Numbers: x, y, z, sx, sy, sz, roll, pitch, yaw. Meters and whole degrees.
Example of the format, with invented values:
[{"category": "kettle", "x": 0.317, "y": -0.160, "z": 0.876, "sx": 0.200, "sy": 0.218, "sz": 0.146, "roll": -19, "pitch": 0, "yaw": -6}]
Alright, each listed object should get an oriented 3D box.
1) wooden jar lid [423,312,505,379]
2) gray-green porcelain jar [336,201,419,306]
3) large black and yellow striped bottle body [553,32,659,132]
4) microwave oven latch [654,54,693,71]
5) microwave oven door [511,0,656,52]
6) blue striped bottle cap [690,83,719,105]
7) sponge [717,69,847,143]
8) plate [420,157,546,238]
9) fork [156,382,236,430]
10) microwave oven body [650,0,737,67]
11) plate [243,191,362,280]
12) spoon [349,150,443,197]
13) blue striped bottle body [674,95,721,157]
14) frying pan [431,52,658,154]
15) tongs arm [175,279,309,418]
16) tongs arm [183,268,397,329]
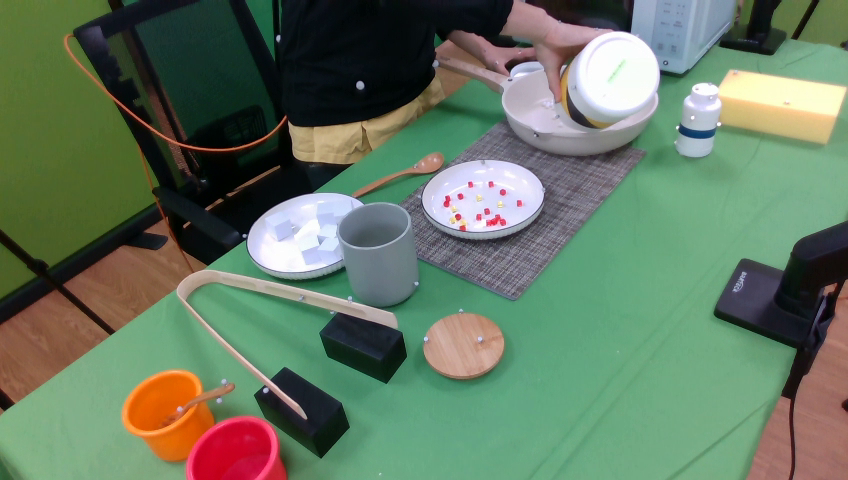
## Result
[{"category": "wooden jar lid", "x": 0.053, "y": 0.142, "z": 0.800, "sx": 0.108, "sy": 0.021, "sz": 0.108, "roll": -5, "pitch": 39, "yaw": 4}, {"category": "gray-green porcelain jar", "x": -0.064, "y": 0.024, "z": 0.872, "sx": 0.106, "sy": 0.127, "sz": 0.105, "roll": -4, "pitch": 41, "yaw": 4}, {"category": "large black and yellow striped bottle body", "x": 0.291, "y": -0.253, "z": 1.004, "sx": 0.131, "sy": 0.130, "sz": 0.184, "roll": -10, "pitch": 1, "yaw": -3}, {"category": "microwave oven latch", "x": 0.531, "y": -0.386, "z": 1.301, "sx": 0.078, "sy": 0.029, "sz": 0.030, "roll": 26, "pitch": 51, "yaw": 33}, {"category": "microwave oven door", "x": 0.350, "y": -0.539, "z": 1.349, "sx": 0.353, "sy": 0.245, "sz": 0.039, "roll": 24, "pitch": 50, "yaw": 31}, {"category": "blue striped bottle cap", "x": 0.481, "y": -0.251, "z": 1.038, "sx": 0.044, "sy": 0.021, "sz": 0.044, "roll": -5, "pitch": 40, "yaw": 5}, {"category": "sponge", "x": 0.663, "y": -0.256, "z": 1.141, "sx": 0.205, "sy": 0.061, "sz": 0.118, "roll": 19, "pitch": 47, "yaw": 28}, {"category": "plate", "x": 0.099, "y": -0.067, "z": 1.017, "sx": 0.209, "sy": 0.038, "sz": 0.208, "roll": -4, "pitch": 40, "yaw": 4}, {"category": "fork", "x": -0.262, "y": 0.189, "z": 0.690, "sx": 0.018, "sy": 0.206, "sz": 0.028, "roll": 49, "pitch": 43, "yaw": -7}, {"category": "microwave oven body", "x": 0.475, "y": -0.602, "z": 1.411, "sx": 0.438, "sy": 0.261, "sz": 0.327, "roll": 23, "pitch": 50, "yaw": 32}, {"category": "plate", "x": -0.187, "y": -0.005, "z": 0.992, "sx": 0.207, "sy": 0.039, "sz": 0.206, "roll": -4, "pitch": 40, "yaw": 4}, {"category": "spoon", "x": -0.051, "y": -0.123, "z": 1.120, "sx": 0.194, "sy": 0.022, "sz": 0.041, "roll": -23, "pitch": 60, "yaw": -18}, {"category": "blue striped bottle body", "x": 0.486, "y": -0.213, "z": 1.072, "sx": 0.063, "sy": 0.121, "sz": 0.063, "roll": -4, "pitch": 41, "yaw": 4}, {"category": "frying pan", "x": 0.216, "y": -0.302, "z": 1.223, "sx": 0.484, "sy": 0.103, "sz": 0.308, "roll": 29, "pitch": 49, "yaw": 24}, {"category": "tongs arm", "x": -0.255, "y": 0.132, "z": 0.800, "sx": 0.028, "sy": 0.028, "sz": 0.384, "roll": -41, "pitch": 40, "yaw": -23}, {"category": "tongs arm", "x": -0.203, "y": 0.084, "z": 0.847, "sx": 0.382, "sy": 0.027, "sz": 0.051, "roll": 11, "pitch": 44, "yaw": 34}]
